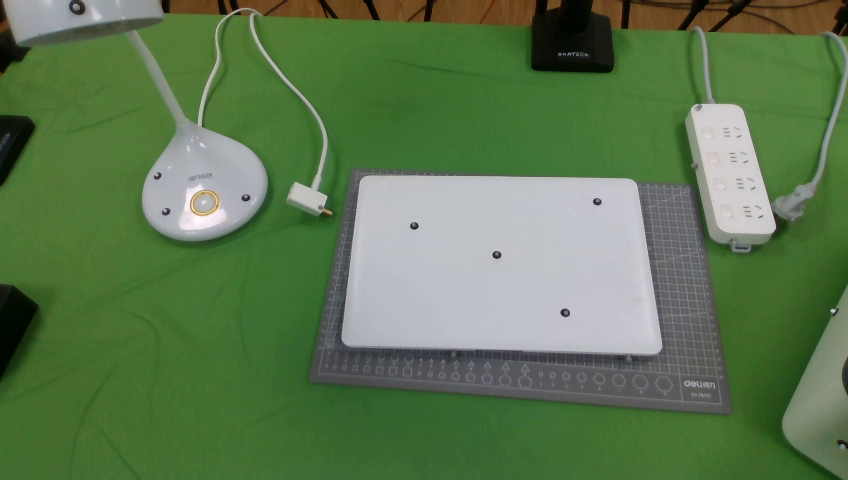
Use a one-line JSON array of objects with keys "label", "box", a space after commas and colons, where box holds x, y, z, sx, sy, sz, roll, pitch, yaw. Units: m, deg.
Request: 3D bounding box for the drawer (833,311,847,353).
[{"label": "drawer", "box": [0.573, 0.070, 0.625, 0.193, 0.074, 0.211, 31, 70, 23]}]

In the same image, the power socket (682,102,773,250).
[{"label": "power socket", "box": [0.385, -0.091, 0.776, 0.072, 0.033, 0.224, 3, 59, 3]}]

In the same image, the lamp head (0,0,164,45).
[{"label": "lamp head", "box": [-0.276, -0.220, 0.467, 0.112, 0.112, 0.123, -12, 104, 3]}]

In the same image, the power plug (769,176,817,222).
[{"label": "power plug", "box": [0.455, -0.045, 0.742, 0.073, 0.053, 0.035, -11, 53, -24]}]

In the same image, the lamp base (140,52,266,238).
[{"label": "lamp base", "box": [-0.296, -0.121, 0.732, 0.161, 0.182, 0.177, -22, 57, -11]}]

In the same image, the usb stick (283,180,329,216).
[{"label": "usb stick", "box": [-0.145, -0.051, 0.766, 0.059, 0.021, 0.027, 28, 63, -20]}]

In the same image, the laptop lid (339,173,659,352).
[{"label": "laptop lid", "box": [0.085, 0.017, 0.715, 0.356, 0.013, 0.239, 2, 61, 4]}]

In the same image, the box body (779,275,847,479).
[{"label": "box body", "box": [0.546, 0.101, 0.578, 0.252, 0.162, 0.363, 33, 65, 20]}]

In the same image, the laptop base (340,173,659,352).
[{"label": "laptop base", "box": [0.086, 0.022, 0.727, 0.354, 0.023, 0.233, 1, 62, 2]}]

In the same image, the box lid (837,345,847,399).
[{"label": "box lid", "box": [0.545, 0.061, 0.515, 0.261, 0.015, 0.370, 33, 66, 20]}]
